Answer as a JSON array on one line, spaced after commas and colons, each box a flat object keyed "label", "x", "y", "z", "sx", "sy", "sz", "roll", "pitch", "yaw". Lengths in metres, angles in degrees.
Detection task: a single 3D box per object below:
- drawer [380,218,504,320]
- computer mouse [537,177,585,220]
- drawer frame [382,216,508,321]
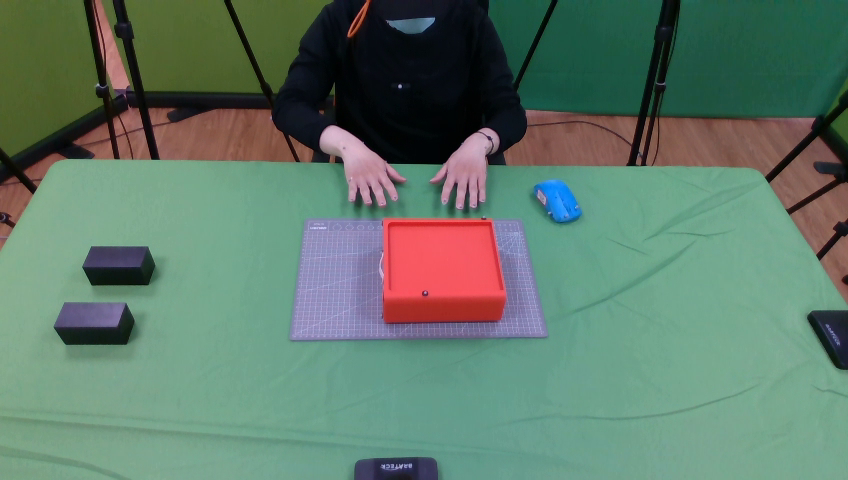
[{"label": "drawer", "x": 0.026, "y": 0.049, "z": 1.103, "sx": 0.212, "sy": 0.073, "sz": 0.193, "roll": 0, "pitch": 46, "yaw": -4}, {"label": "computer mouse", "x": 0.291, "y": -0.093, "z": 1.288, "sx": 0.063, "sy": 0.041, "sz": 0.116, "roll": -13, "pitch": 53, "yaw": -18}, {"label": "drawer frame", "x": 0.029, "y": 0.049, "z": 1.102, "sx": 0.214, "sy": 0.083, "sz": 0.200, "roll": 0, "pitch": 46, "yaw": -5}]
